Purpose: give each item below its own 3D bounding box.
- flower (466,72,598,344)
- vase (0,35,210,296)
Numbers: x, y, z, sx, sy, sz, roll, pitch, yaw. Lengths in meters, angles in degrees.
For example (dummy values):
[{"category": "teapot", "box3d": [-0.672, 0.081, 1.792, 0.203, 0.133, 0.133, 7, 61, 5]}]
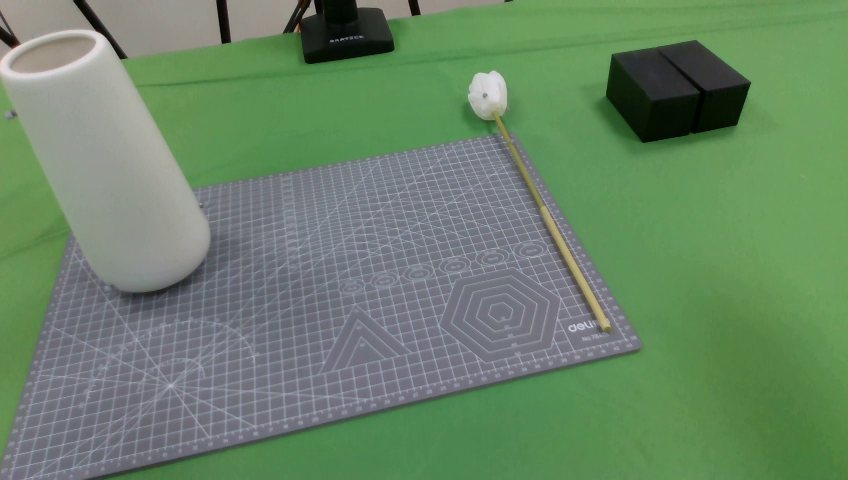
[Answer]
[{"category": "flower", "box3d": [0.098, -0.051, 0.578, 0.044, 0.038, 0.357, -32, 45, 19]}, {"category": "vase", "box3d": [-0.238, -0.050, 0.468, 0.098, 0.202, 0.097, -2, 42, 2]}]
